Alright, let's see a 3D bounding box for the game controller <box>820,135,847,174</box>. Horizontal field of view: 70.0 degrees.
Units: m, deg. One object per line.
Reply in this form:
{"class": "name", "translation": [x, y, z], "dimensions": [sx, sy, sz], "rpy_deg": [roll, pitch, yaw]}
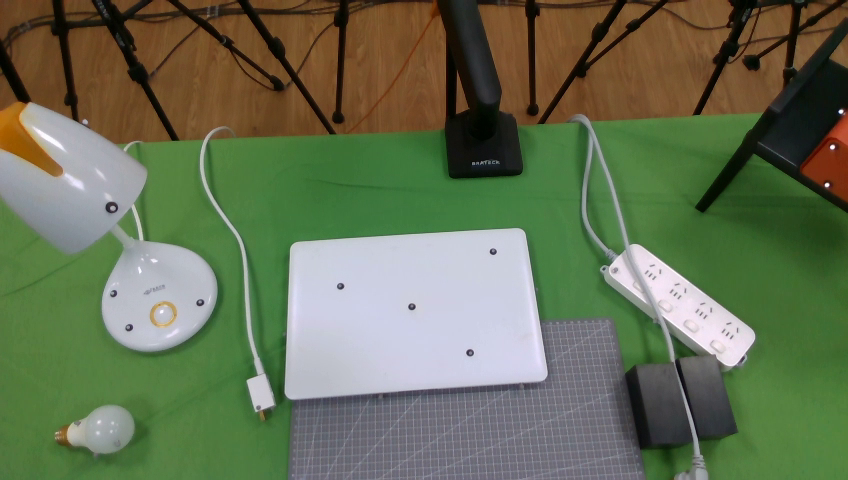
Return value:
{"class": "game controller", "translation": [0.574, -0.083, 0.724], "dimensions": [0.097, 0.052, 0.154], "rpy_deg": [-40, 67, -17]}

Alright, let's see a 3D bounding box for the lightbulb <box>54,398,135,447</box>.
{"class": "lightbulb", "translation": [-0.423, 0.236, 0.773], "dimensions": [0.107, 0.060, 0.059], "rpy_deg": [-11, 63, 11]}

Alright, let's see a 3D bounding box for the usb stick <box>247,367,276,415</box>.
{"class": "usb stick", "translation": [-0.214, 0.201, 0.803], "dimensions": [0.027, 0.021, 0.059], "rpy_deg": [-16, 74, -8]}

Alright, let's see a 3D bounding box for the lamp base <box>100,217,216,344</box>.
{"class": "lamp base", "translation": [-0.387, 0.029, 0.802], "dimensions": [0.160, 0.182, 0.177], "rpy_deg": [-32, 65, -15]}

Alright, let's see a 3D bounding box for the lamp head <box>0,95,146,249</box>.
{"class": "lamp head", "translation": [-0.338, -0.070, 0.548], "dimensions": [0.112, 0.124, 0.111], "rpy_deg": [-25, 39, 22]}

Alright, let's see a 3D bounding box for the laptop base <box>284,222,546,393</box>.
{"class": "laptop base", "translation": [-0.018, 0.090, 0.863], "dimensions": [0.354, 0.023, 0.233], "rpy_deg": [-4, 66, -2]}

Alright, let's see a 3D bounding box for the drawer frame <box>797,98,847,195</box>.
{"class": "drawer frame", "translation": [0.604, -0.120, 0.727], "dimensions": [0.200, 0.083, 0.213], "rpy_deg": [39, 70, 18]}

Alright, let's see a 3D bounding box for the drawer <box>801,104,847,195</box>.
{"class": "drawer", "translation": [0.604, -0.116, 0.727], "dimensions": [0.193, 0.074, 0.211], "rpy_deg": [40, 70, 18]}

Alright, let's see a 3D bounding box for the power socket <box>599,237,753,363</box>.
{"class": "power socket", "translation": [0.355, 0.082, 0.857], "dimensions": [0.225, 0.033, 0.072], "rpy_deg": [41, 70, 19]}

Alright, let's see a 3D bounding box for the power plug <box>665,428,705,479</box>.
{"class": "power plug", "translation": [0.326, 0.278, 0.754], "dimensions": [0.035, 0.053, 0.072], "rpy_deg": [29, 57, -15]}

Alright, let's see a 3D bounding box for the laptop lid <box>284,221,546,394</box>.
{"class": "laptop lid", "translation": [-0.019, 0.087, 0.851], "dimensions": [0.357, 0.013, 0.239], "rpy_deg": [-2, 65, -1]}
